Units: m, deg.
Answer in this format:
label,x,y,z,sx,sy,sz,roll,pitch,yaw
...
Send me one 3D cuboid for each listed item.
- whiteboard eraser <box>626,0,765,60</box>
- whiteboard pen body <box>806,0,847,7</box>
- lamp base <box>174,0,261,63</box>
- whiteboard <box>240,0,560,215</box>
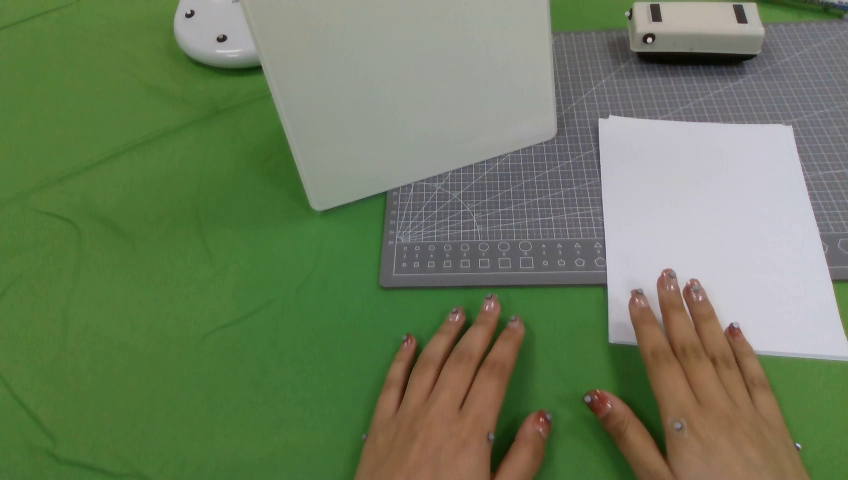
label,x,y,z,sx,sy,sz,roll,pitch,yaw
whiteboard eraser,0.246,-0.193,0.556,0.112,0.042,0.055,4,55,8
whiteboard pen body,0.372,-0.246,0.599,0.140,0.017,0.017,18,57,20
lamp base,-0.198,-0.292,0.584,0.177,0.182,0.160,34,63,29
whiteboard,-0.032,-0.211,0.468,0.217,0.308,0.142,-18,34,-7
